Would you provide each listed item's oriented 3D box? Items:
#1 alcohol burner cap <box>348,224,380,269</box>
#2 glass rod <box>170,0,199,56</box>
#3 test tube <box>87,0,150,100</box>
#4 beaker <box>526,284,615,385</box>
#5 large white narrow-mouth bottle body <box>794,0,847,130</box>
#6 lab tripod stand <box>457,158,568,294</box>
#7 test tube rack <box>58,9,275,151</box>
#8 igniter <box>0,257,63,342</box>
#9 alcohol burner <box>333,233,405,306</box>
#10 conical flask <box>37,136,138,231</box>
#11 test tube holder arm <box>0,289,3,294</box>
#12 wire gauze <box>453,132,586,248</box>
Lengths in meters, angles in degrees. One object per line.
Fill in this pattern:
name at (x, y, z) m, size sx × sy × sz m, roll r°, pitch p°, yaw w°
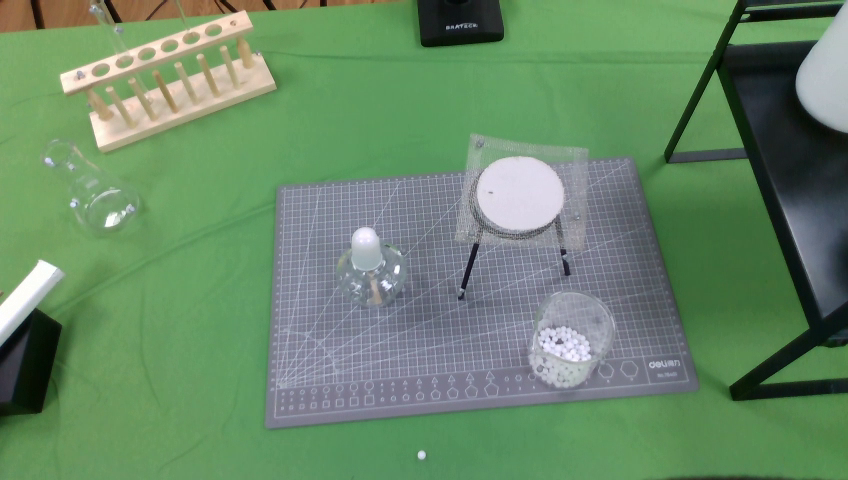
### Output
alcohol burner cap at (-0.061, 0.004, 0.613) m, size 0.034 × 0.048 × 0.033 m, roll 2°, pitch 54°, yaw -2°
glass rod at (-0.306, -0.279, 0.756) m, size 0.008 × 0.201 × 0.008 m, roll -2°, pitch 54°, yaw 4°
test tube at (-0.376, -0.233, 0.753) m, size 0.017 × 0.151 × 0.017 m, roll -1°, pitch 56°, yaw 1°
beaker at (0.139, 0.101, 0.604) m, size 0.084 × 0.101 × 0.073 m, roll -29°, pitch 64°, yaw -12°
large white narrow-mouth bottle body at (0.394, -0.183, 0.490) m, size 0.102 × 0.196 × 0.101 m, roll -1°, pitch 62°, yaw 3°
lab tripod stand at (0.092, -0.013, 0.646) m, size 0.148 × 0.132 × 0.147 m, roll 0°, pitch 61°, yaw 1°
test tube rack at (-0.331, -0.210, 0.795) m, size 0.242 × 0.086 × 0.066 m, roll -24°, pitch 63°, yaw -10°
igniter at (-0.468, 0.133, 0.598) m, size 0.057 × 0.025 × 0.275 m, roll 20°, pitch 63°, yaw 23°
alcohol burner at (-0.060, 0.023, 0.644) m, size 0.078 × 0.120 × 0.077 m, roll 0°, pitch 60°, yaw 1°
conical flask at (-0.394, -0.070, 0.702) m, size 0.075 × 0.123 × 0.074 m, roll -1°, pitch 62°, yaw 2°
test tube holder arm at (-0.475, 0.083, 0.627) m, size 0.010 × 0.015 × 0.087 m, roll 40°, pitch 67°, yaw -12°
wire gauze at (0.096, -0.050, 0.589) m, size 0.121 × 0.011 × 0.124 m, roll 7°, pitch 63°, yaw 4°
